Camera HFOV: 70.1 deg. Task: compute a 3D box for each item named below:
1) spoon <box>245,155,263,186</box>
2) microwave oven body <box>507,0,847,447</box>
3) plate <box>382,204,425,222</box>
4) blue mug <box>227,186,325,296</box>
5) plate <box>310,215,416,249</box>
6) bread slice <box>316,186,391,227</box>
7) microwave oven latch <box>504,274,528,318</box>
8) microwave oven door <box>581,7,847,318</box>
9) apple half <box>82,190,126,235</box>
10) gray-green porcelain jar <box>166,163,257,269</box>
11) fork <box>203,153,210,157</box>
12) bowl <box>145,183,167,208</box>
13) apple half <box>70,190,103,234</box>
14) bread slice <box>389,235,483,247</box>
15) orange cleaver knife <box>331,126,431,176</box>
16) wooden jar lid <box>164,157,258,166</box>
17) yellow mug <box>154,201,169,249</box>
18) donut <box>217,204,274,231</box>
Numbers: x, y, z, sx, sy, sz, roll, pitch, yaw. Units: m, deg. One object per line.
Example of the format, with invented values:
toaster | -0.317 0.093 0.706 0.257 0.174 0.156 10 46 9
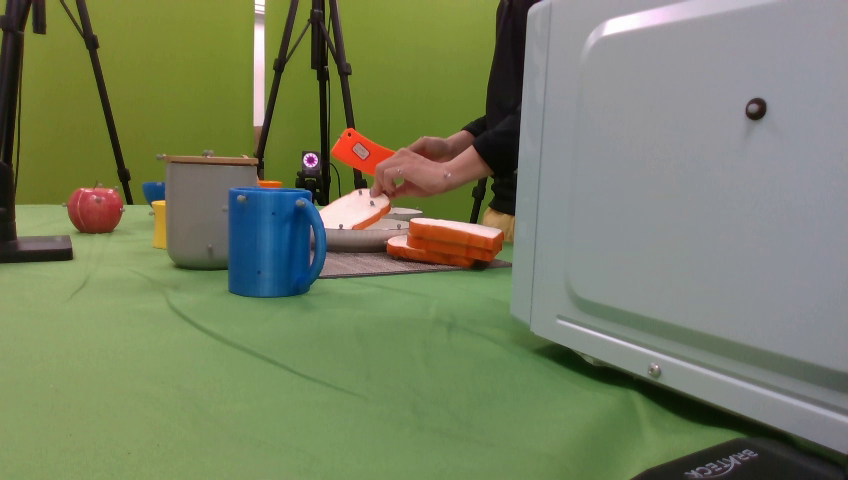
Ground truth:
spoon | -0.421 -0.150 1.540 0.042 0.021 0.193 -5 55 -37
microwave oven body | 0.331 -0.042 0.425 0.444 0.260 0.324 -2 8 -31
plate | -0.102 -0.053 1.299 0.209 0.038 0.209 2 7 0
blue mug | -0.147 0.000 0.618 0.116 0.106 0.083 7 9 32
plate | -0.116 -0.014 0.967 0.208 0.039 0.207 2 7 0
bread slice | -0.119 -0.045 0.967 0.106 0.018 0.135 21 45 39
microwave oven latch | 0.100 0.041 0.471 0.079 0.029 0.030 -1 8 -28
microwave oven door | 0.295 -0.067 0.569 0.358 0.243 0.039 -3 8 -31
apple half | -0.516 -0.046 0.994 0.032 0.081 0.081 0 6 26
gray-green porcelain jar | -0.263 -0.031 0.754 0.106 0.126 0.106 2 7 0
fork | -0.480 -0.134 1.411 0.028 0.018 0.207 1 -35 0
bowl | -0.459 -0.068 1.175 0.151 0.077 0.151 2 7 0
apple half | -0.552 -0.047 1.009 0.053 0.074 0.081 -1 9 26
bread slice | 0.016 0.002 0.873 0.131 0.019 0.105 1 0 2
orange cleaver knife | -0.087 -0.174 1.262 0.212 0.077 0.012 16 10 -21
wooden jar lid | -0.261 -0.093 0.746 0.108 0.020 0.108 0 9 0
yellow mug | -0.338 -0.022 0.899 0.130 0.064 0.100 8 9 34
donut | -0.317 -0.038 1.080 0.099 0.048 0.099 3 7 0
